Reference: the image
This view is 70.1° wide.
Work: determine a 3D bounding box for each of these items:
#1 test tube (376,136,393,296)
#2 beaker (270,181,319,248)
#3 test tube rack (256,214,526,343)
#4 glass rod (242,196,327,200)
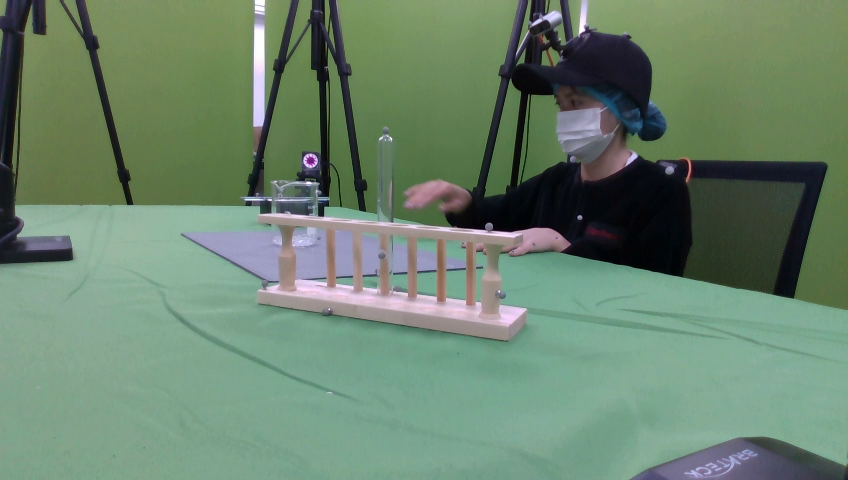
[{"bbox_3d":[-0.037,-0.021,0.565,0.017,0.150,0.017,1,6,0],"label":"test tube"},{"bbox_3d":[-0.203,-0.040,0.935,0.074,0.100,0.084,5,8,18],"label":"beaker"},{"bbox_3d":[-0.032,0.027,0.547,0.241,0.085,0.067,5,7,22],"label":"test tube rack"},{"bbox_3d":[-0.287,-0.089,1.268,0.201,0.008,0.008,-4,10,-43],"label":"glass rod"}]
